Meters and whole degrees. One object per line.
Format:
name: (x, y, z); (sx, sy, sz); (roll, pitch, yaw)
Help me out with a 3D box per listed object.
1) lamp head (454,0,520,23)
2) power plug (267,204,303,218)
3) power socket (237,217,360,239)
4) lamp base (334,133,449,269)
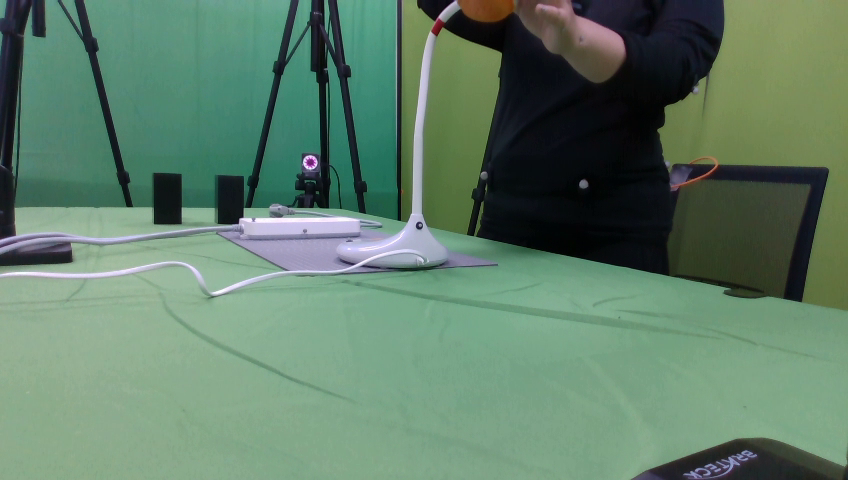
lamp head: (0.073, -0.319, 0.707); (0.112, 0.122, 0.112); (8, -3, 1)
power plug: (-0.327, -0.060, 1.404); (0.073, 0.035, 0.052); (22, -14, -26)
power socket: (-0.220, -0.023, 1.080); (0.228, 0.032, 0.072); (-2, 8, -33)
lamp base: (-0.034, -0.057, 0.831); (0.161, 0.180, 0.178); (-2, 11, -36)
